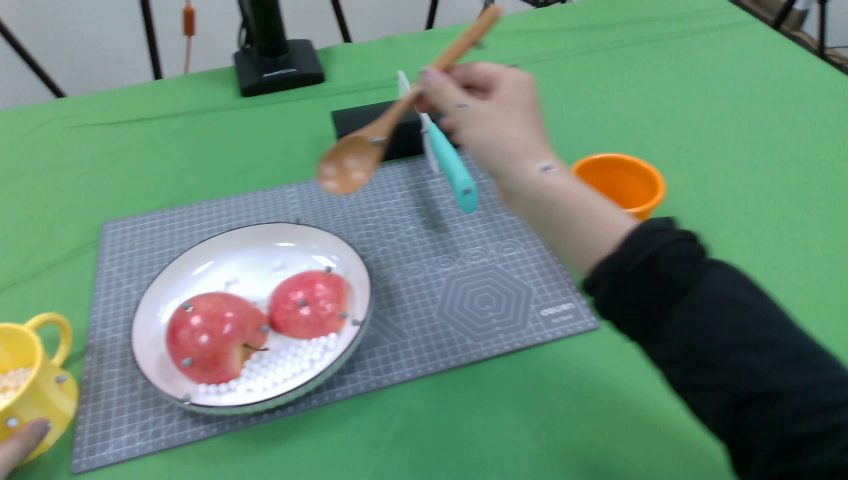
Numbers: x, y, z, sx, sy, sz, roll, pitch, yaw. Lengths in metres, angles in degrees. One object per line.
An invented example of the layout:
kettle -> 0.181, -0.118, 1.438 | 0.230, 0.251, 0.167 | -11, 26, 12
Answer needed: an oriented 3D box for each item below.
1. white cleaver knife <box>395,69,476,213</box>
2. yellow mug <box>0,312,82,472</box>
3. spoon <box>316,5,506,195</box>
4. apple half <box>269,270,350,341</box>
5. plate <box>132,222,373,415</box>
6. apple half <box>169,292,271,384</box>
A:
white cleaver knife -> 0.008, -0.117, 0.701 | 0.021, 0.066, 0.283 | -16, 42, -6
yellow mug -> -0.335, 0.113, 0.493 | 0.099, 0.064, 0.130 | 12, 46, 13
spoon -> -0.010, -0.106, 0.463 | 0.194, 0.022, 0.041 | -43, 80, 13
apple half -> -0.106, 0.052, 0.548 | 0.081, 0.033, 0.080 | -1, 47, 1
plate -> -0.148, 0.067, 0.545 | 0.209, 0.038, 0.207 | -1, 45, 1
apple half -> -0.178, 0.075, 0.517 | 0.074, 0.054, 0.080 | 19, 49, 24
